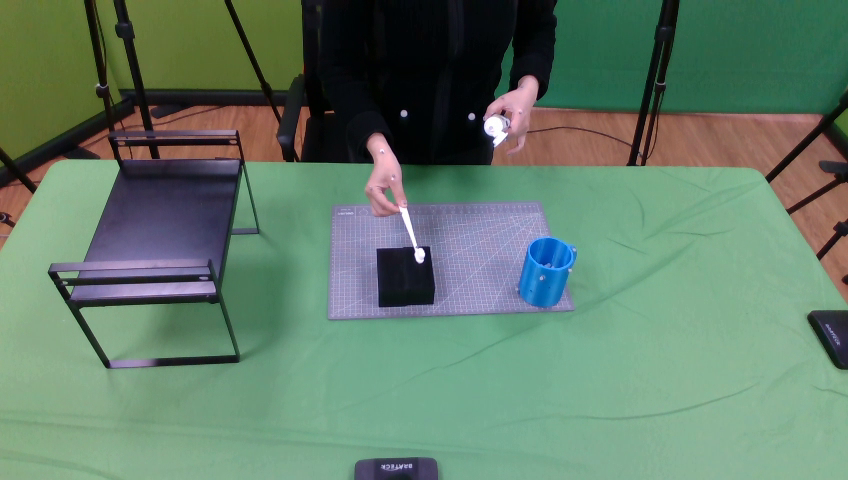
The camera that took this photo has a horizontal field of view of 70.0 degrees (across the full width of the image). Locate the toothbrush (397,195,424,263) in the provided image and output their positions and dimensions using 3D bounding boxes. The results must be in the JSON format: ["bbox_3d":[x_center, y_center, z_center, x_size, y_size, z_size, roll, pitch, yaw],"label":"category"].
[{"bbox_3d":[-0.025,-0.026,1.069,0.014,0.017,0.180,2,40,-19],"label":"toothbrush"}]

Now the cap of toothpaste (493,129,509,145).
[{"bbox_3d":[0.135,-0.183,1.073,0.011,0.037,0.037,45,50,-10],"label":"cap of toothpaste"}]

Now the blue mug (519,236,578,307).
[{"bbox_3d":[0.234,0.052,1.102,0.116,0.106,0.082,-23,52,-24],"label":"blue mug"}]

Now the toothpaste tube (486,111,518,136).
[{"bbox_3d":[0.146,-0.225,1.153,0.055,0.034,0.165,27,24,5],"label":"toothpaste tube"}]
